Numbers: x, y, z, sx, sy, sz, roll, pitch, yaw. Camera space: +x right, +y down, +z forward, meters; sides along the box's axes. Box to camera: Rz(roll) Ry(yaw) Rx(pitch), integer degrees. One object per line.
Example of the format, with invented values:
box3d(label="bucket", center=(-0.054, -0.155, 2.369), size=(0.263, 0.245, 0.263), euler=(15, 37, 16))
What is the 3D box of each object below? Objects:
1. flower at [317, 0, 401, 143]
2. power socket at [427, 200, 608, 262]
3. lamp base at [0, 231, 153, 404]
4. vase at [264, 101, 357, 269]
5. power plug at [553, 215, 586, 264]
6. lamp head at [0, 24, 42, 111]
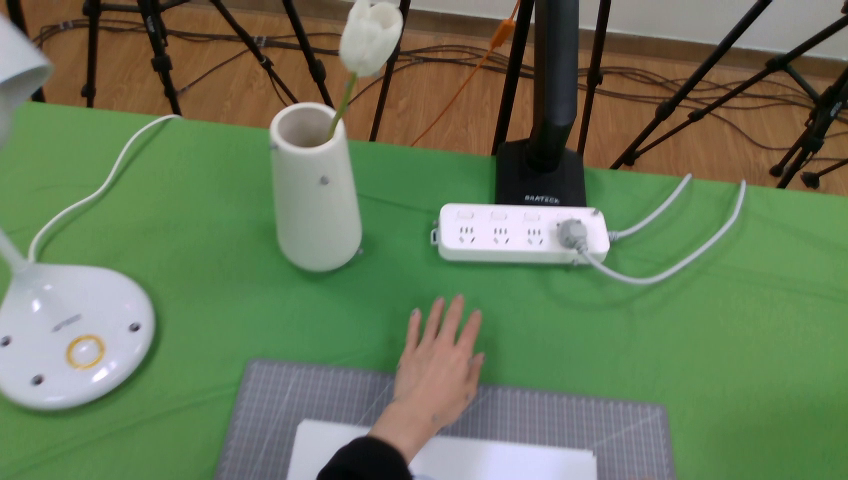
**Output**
box3d(label="flower", center=(-0.100, -0.091, 0.586), size=(0.044, 0.362, 0.038), euler=(-31, 80, -33))
box3d(label="power socket", center=(0.118, -0.011, 0.752), size=(0.227, 0.033, 0.071), euler=(2, 56, -4))
box3d(label="lamp base", center=(-0.375, 0.044, 0.577), size=(0.178, 0.182, 0.160), euler=(34, 59, 21))
box3d(label="vase", center=(-0.124, -0.054, 0.657), size=(0.098, 0.201, 0.097), euler=(2, 55, -2))
box3d(label="power plug", center=(0.170, 0.003, 0.720), size=(0.035, 0.053, 0.072), euler=(11, 61, 2))
box3d(label="lamp head", center=(-0.307, -0.111, 0.338), size=(0.124, 0.112, 0.112), euler=(49, 57, -18))
